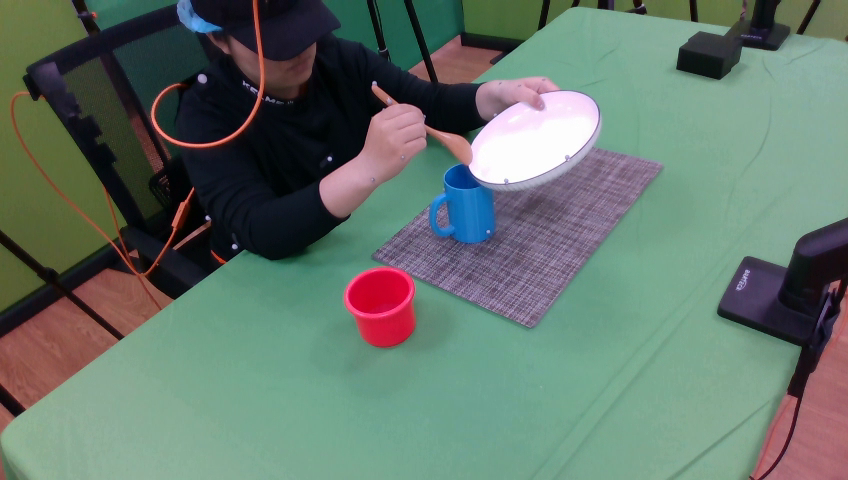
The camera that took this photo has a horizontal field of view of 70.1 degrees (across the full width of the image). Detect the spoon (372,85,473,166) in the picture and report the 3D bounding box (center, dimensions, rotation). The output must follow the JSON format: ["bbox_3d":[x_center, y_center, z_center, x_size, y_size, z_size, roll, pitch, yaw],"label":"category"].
[{"bbox_3d":[0.002,-0.164,0.872,0.021,0.195,0.041,-24,45,50],"label":"spoon"}]

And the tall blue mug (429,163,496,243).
[{"bbox_3d":[0.067,-0.051,0.960,0.077,0.108,0.107,17,47,27],"label":"tall blue mug"}]

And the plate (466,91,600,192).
[{"bbox_3d":[0.164,-0.143,0.908,0.207,0.039,0.206,-21,39,18],"label":"plate"}]
